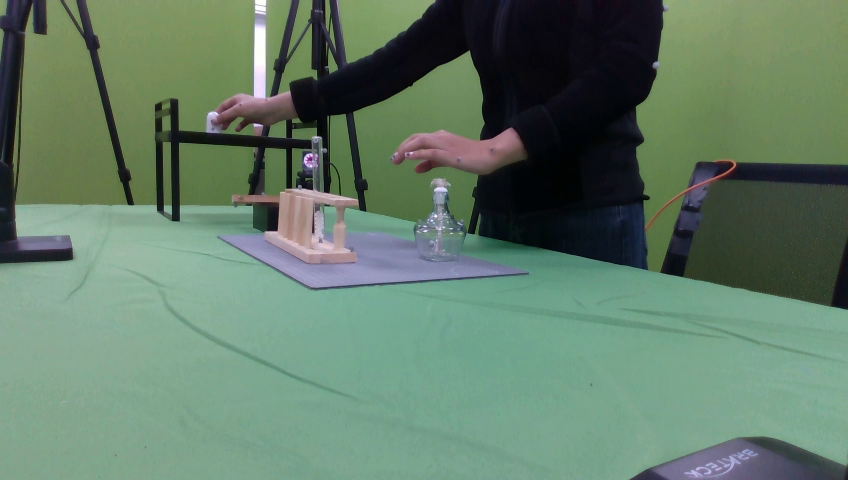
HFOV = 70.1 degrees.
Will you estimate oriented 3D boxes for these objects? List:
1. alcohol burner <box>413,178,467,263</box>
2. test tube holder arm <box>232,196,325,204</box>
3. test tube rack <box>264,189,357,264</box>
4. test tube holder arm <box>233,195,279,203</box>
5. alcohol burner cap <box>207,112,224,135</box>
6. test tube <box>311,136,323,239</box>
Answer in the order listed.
[{"bbox_3d":[0.023,-0.029,0.864,0.078,0.119,0.078,1,6,0],"label":"alcohol burner"},{"bbox_3d":[-0.270,-0.076,1.143,0.179,0.015,0.013,-1,-3,-30],"label":"test tube holder arm"},{"bbox_3d":[-0.174,-0.027,0.890,0.067,0.085,0.241,-1,8,-28],"label":"test tube rack"},{"bbox_3d":[-0.307,-0.076,1.116,0.088,0.015,0.010,-1,-3,-30],"label":"test tube holder arm"},{"bbox_3d":[-0.440,-0.246,1.272,0.034,0.048,0.034,0,10,0],"label":"alcohol burner cap"},{"bbox_3d":[-0.155,-0.076,0.878,0.017,0.150,0.017,0,7,0],"label":"test tube"}]
